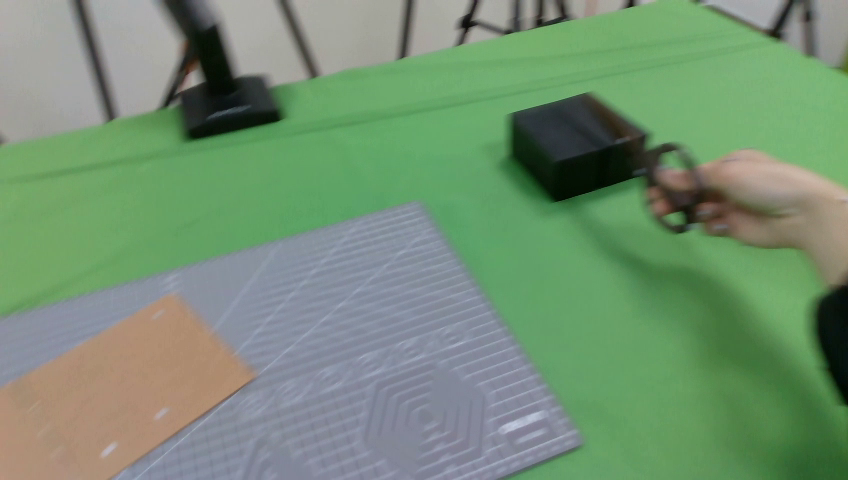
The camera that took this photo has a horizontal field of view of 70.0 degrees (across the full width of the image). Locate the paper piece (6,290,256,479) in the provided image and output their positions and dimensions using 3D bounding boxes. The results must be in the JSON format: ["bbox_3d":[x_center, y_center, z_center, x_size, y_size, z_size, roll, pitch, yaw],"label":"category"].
[{"bbox_3d":[-0.222,0.105,0.460,0.138,0.009,0.134,-33,52,-30],"label":"paper piece"}]

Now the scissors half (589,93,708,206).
[{"bbox_3d":[0.185,-0.087,0.518,0.013,0.040,0.173,-17,40,-9],"label":"scissors half"}]

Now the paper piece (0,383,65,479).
[{"bbox_3d":[-0.318,0.169,0.394,0.136,0.004,0.134,-33,48,-29],"label":"paper piece"}]

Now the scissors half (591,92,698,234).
[{"bbox_3d":[0.186,-0.073,0.532,0.013,0.040,0.173,-13,57,-12],"label":"scissors half"}]
